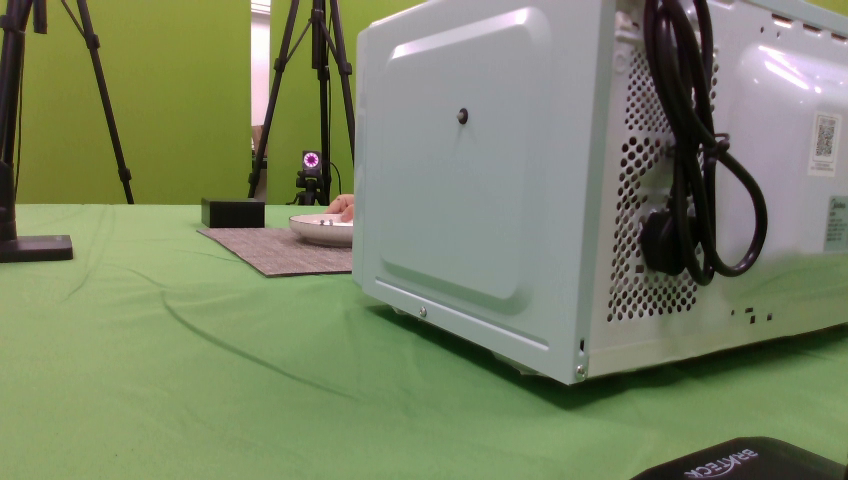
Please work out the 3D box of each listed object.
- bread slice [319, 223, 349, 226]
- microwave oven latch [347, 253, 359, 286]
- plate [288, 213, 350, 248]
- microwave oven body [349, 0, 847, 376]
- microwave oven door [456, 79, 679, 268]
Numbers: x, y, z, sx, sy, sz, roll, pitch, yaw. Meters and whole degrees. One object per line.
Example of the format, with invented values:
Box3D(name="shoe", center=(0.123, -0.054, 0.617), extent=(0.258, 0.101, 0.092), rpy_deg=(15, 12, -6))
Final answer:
Box3D(name="bread slice", center=(-0.122, -0.015, 1.004), extent=(0.131, 0.019, 0.105), rpy_deg=(4, 7, 12))
Box3D(name="microwave oven latch", center=(-0.034, 0.028, 0.581), extent=(0.079, 0.029, 0.030), rpy_deg=(-1, 7, -32))
Box3D(name="plate", center=(-0.122, -0.017, 1.008), extent=(0.209, 0.038, 0.209), rpy_deg=(3, 8, 0))
Box3D(name="microwave oven body", center=(0.199, -0.053, 0.540), extent=(0.444, 0.260, 0.324), rpy_deg=(-1, 7, -32))
Box3D(name="microwave oven door", center=(0.190, -0.104, 0.897), extent=(0.039, 0.243, 0.354), rpy_deg=(-4, 10, -43))
